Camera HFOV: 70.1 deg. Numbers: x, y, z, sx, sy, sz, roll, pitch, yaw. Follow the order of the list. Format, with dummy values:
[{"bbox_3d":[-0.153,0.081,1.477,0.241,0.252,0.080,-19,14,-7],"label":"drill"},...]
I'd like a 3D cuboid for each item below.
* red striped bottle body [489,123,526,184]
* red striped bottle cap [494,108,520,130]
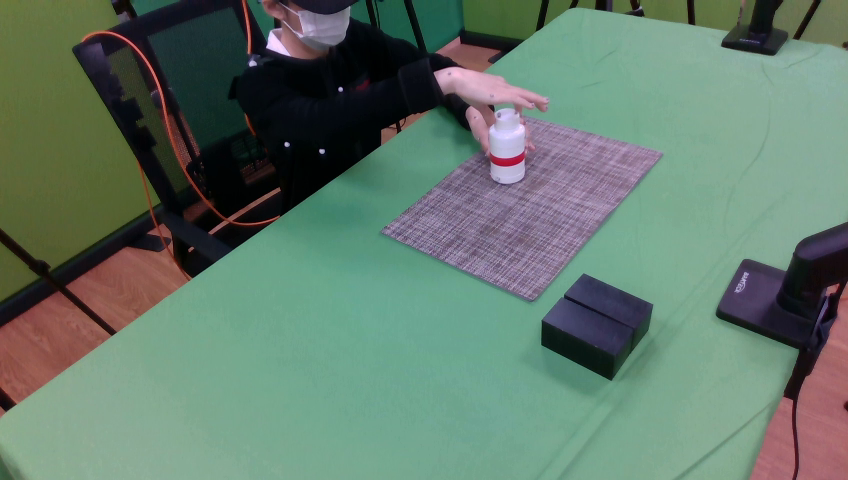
[{"bbox_3d":[0.147,-0.163,1.064,0.063,0.120,0.062,-5,39,4],"label":"red striped bottle body"},{"bbox_3d":[0.141,-0.206,1.028,0.044,0.018,0.044,-3,44,4],"label":"red striped bottle cap"}]
